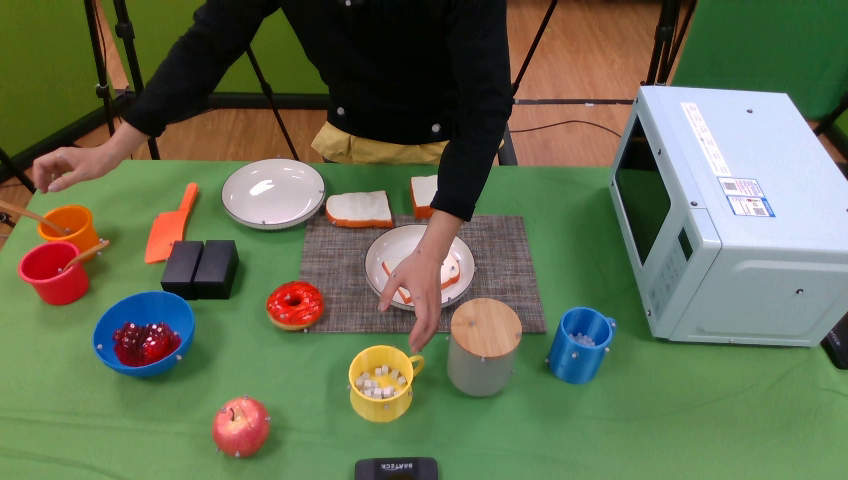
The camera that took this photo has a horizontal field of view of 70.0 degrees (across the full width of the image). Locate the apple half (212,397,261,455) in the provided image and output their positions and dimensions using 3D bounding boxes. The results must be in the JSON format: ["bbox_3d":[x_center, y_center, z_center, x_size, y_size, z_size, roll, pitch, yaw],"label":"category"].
[{"bbox_3d":[-0.276,0.276,0.877,0.053,0.075,0.080,-29,58,-21],"label":"apple half"}]

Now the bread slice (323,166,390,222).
[{"bbox_3d":[-0.140,-0.092,1.224,0.134,0.018,0.106,-19,51,6],"label":"bread slice"}]

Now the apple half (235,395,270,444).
[{"bbox_3d":[-0.245,0.259,0.893,0.033,0.082,0.081,-29,55,-21],"label":"apple half"}]

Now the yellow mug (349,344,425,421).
[{"bbox_3d":[-0.054,0.217,0.954,0.131,0.064,0.099,-24,52,-25],"label":"yellow mug"}]

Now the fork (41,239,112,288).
[{"bbox_3d":[-0.591,0.040,1.028,0.207,0.019,0.028,-27,36,29],"label":"fork"}]

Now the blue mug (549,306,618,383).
[{"bbox_3d":[0.269,0.167,0.997,0.116,0.106,0.082,-19,51,-21],"label":"blue mug"}]

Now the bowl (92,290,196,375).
[{"bbox_3d":[-0.436,0.161,0.971,0.151,0.077,0.150,2,46,-2],"label":"bowl"}]

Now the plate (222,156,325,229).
[{"bbox_3d":[-0.308,-0.095,1.251,0.209,0.038,0.208,3,47,-2],"label":"plate"}]

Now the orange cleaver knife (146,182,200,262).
[{"bbox_3d":[-0.494,-0.039,1.199,0.077,0.012,0.210,-3,48,2],"label":"orange cleaver knife"}]

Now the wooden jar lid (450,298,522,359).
[{"bbox_3d":[0.093,0.135,0.914,0.108,0.021,0.107,3,48,-3],"label":"wooden jar lid"}]

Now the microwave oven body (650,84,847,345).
[{"bbox_3d":[0.569,-0.054,1.116,0.326,0.261,0.439,2,46,-1],"label":"microwave oven body"}]

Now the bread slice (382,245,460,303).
[{"bbox_3d":[-0.001,0.054,1.129,0.132,0.019,0.104,-20,51,-21],"label":"bread slice"}]

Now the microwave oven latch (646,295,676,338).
[{"bbox_3d":[0.413,0.133,1.060,0.030,0.029,0.078,4,46,1],"label":"microwave oven latch"}]

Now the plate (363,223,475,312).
[{"bbox_3d":[-0.009,0.054,1.127,0.208,0.039,0.206,2,46,-2],"label":"plate"}]

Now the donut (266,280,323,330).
[{"bbox_3d":[-0.223,0.113,1.051,0.099,0.048,0.098,2,46,-2],"label":"donut"}]

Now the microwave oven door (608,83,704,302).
[{"bbox_3d":[0.424,-0.096,1.138,0.039,0.245,0.353,2,47,-1],"label":"microwave oven door"}]

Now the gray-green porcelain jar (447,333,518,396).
[{"bbox_3d":[0.091,0.178,0.960,0.106,0.127,0.105,2,47,-2],"label":"gray-green porcelain jar"}]

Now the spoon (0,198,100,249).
[{"bbox_3d":[-0.684,-0.035,1.092,0.021,0.195,0.041,-32,42,27],"label":"spoon"}]
